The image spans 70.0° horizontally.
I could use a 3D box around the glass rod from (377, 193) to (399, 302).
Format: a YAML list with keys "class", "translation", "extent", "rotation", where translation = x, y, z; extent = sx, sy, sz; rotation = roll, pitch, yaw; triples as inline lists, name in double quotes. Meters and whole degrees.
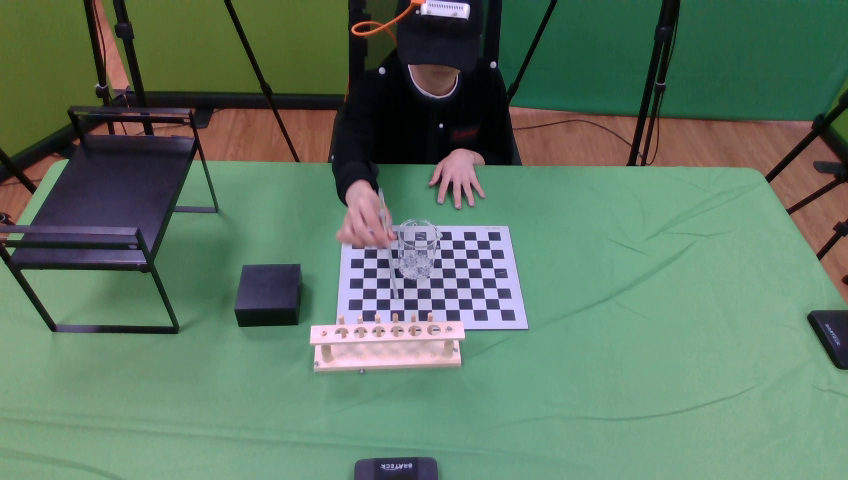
- class: "glass rod"
  translation: [-0.051, 0.017, 0.882]
  extent: [0.008, 0.201, 0.008]
  rotation: [-4, 36, 3]

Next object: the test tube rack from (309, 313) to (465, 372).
- class: "test tube rack"
  translation: [-0.059, 0.161, 0.990]
  extent: [0.242, 0.085, 0.066]
  rotation: [-1, 46, -5]

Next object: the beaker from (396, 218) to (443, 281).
- class: "beaker"
  translation: [-0.010, 0.020, 1.116]
  extent: [0.084, 0.101, 0.073]
  rotation: [1, 46, -3]
